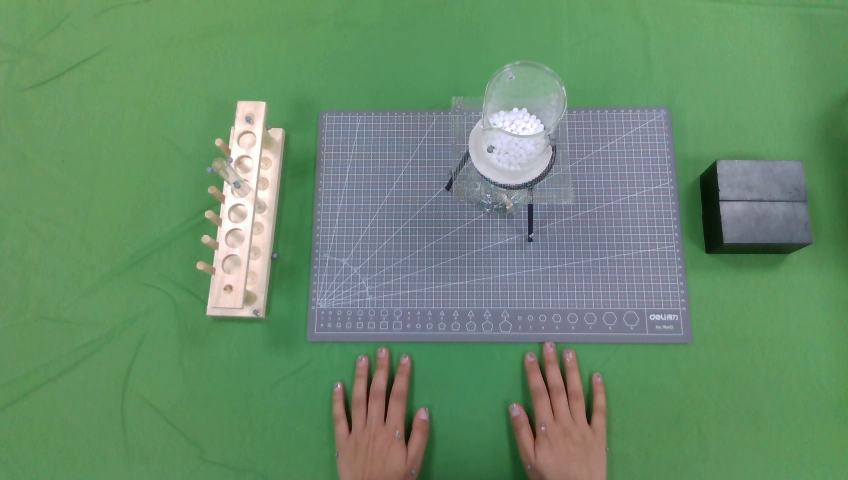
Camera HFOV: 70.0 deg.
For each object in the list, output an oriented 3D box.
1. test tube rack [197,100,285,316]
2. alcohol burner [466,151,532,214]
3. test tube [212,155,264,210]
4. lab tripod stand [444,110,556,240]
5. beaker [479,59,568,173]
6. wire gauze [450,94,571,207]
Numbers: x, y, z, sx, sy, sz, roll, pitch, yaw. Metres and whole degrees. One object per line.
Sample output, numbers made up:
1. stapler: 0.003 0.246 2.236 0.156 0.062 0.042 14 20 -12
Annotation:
1. test tube rack: -0.221 -0.037 0.718 0.067 0.085 0.241 2 76 3
2. alcohol burner: 0.089 -0.072 0.699 0.078 0.119 0.077 0 75 0
3. test tube: -0.203 -0.060 0.672 0.017 0.151 0.017 0 77 0
4. lab tripod stand: 0.095 -0.082 0.691 0.148 0.132 0.147 -1 74 3
5. beaker: 0.088 -0.111 0.581 0.084 0.101 0.073 -33 77 -7
6. wire gauze: 0.089 -0.095 0.627 0.125 0.011 0.121 1 76 0
